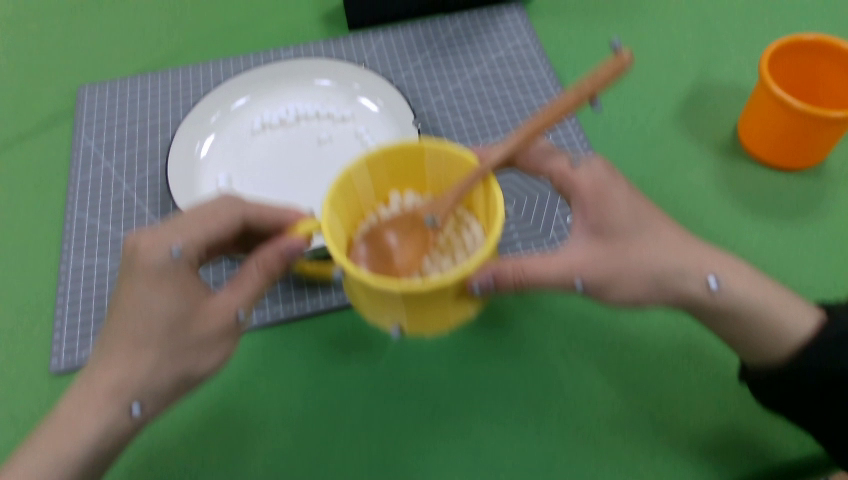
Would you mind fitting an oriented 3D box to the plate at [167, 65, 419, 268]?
[{"bbox_3d":[-0.104,-0.062,0.509,0.207,0.039,0.205,-1,57,2],"label":"plate"}]

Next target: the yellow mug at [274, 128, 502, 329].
[{"bbox_3d":[-0.021,-0.003,0.350,0.131,0.064,0.099,-9,59,0],"label":"yellow mug"}]

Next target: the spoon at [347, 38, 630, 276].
[{"bbox_3d":[0.032,-0.042,0.332,0.194,0.022,0.041,-40,63,17],"label":"spoon"}]
